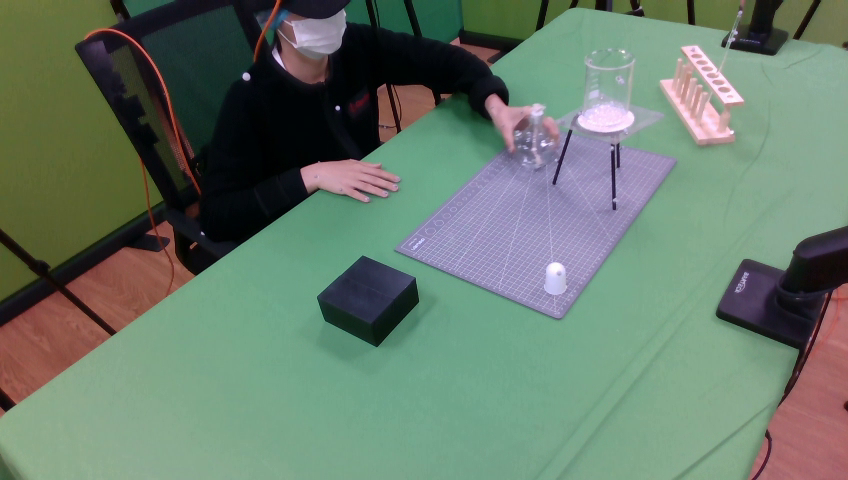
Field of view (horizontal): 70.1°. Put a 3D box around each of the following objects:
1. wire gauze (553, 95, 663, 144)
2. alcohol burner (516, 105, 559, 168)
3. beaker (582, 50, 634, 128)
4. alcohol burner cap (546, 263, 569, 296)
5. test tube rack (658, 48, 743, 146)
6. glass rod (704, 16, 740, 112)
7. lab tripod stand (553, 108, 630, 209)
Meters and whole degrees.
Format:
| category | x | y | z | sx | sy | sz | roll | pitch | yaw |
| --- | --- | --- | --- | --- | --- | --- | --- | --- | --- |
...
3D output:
| category | x | y | z | sx | sy | sz | roll | pitch | yaw |
| --- | --- | --- | --- | --- | --- | --- | --- | --- | --- |
| wire gauze | 0.293 | -0.191 | 0.964 | 0.125 | 0.011 | 0.120 | -29 | 45 | -29 |
| alcohol burner | 0.205 | -0.190 | 1.086 | 0.078 | 0.119 | 0.077 | -2 | 41 | 2 |
| beaker | 0.285 | -0.234 | 0.939 | 0.084 | 0.101 | 0.073 | -28 | 43 | -23 |
| alcohol burner cap | 0.191 | 0.053 | 0.862 | 0.034 | 0.048 | 0.033 | -5 | 40 | 4 |
| test tube rack | 0.532 | -0.284 | 1.180 | 0.067 | 0.085 | 0.241 | -5 | 40 | 4 |
| glass rod | 0.549 | -0.319 | 1.117 | 0.008 | 0.200 | 0.008 | -2 | 47 | 3 |
| lab tripod stand | 0.292 | -0.144 | 1.010 | 0.148 | 0.132 | 0.147 | -5 | 38 | 4 |
